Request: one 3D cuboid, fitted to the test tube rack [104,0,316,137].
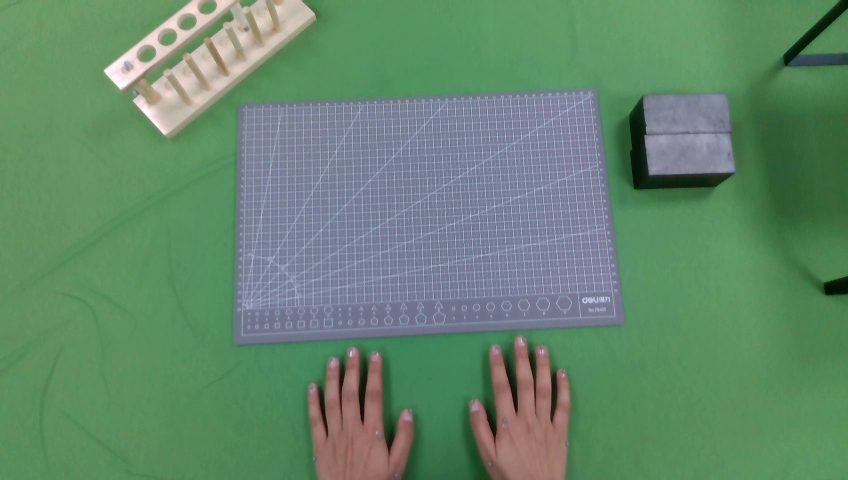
[{"bbox_3d":[-0.249,-0.241,0.731,0.242,0.085,0.066,-43,80,-9],"label":"test tube rack"}]

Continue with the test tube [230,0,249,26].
[{"bbox_3d":[-0.231,-0.297,0.693,0.017,0.151,0.017,-1,72,5],"label":"test tube"}]
